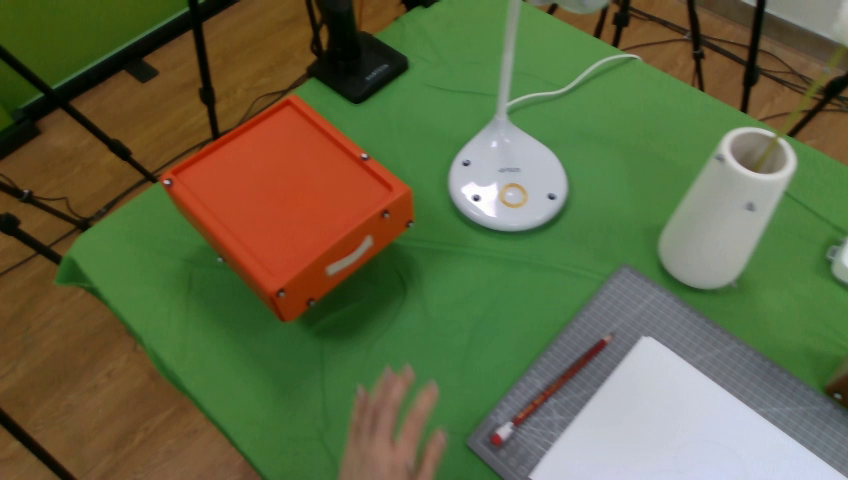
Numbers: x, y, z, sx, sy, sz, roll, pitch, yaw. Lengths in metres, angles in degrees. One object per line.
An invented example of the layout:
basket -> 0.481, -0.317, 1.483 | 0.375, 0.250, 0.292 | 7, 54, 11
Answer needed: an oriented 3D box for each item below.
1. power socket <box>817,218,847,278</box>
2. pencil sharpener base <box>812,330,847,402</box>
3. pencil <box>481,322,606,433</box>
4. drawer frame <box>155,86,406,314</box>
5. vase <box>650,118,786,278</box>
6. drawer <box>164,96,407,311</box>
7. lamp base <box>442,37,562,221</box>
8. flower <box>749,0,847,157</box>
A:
power socket -> 0.581, 0.048, 0.704 | 0.225, 0.033, 0.072 | 32, 64, 20
pencil sharpener base -> 0.465, 0.125, 0.613 | 0.061, 0.108, 0.076 | -40, 64, -22
pencil -> 0.135, 0.147, 0.665 | 0.194, 0.012, 0.012 | -35, 62, -21
drawer frame -> -0.164, -0.054, 0.715 | 0.201, 0.083, 0.212 | -40, 66, -21
vase -> 0.320, -0.042, 0.672 | 0.098, 0.202, 0.097 | -1, 55, 2
drawer -> -0.159, -0.052, 0.712 | 0.194, 0.074, 0.210 | -40, 64, -21
lamp base -> 0.099, -0.144, 0.757 | 0.161, 0.182, 0.177 | -12, 54, -6
flower -> 0.334, -0.094, 0.607 | 0.038, 0.364, 0.044 | 26, 43, 10
